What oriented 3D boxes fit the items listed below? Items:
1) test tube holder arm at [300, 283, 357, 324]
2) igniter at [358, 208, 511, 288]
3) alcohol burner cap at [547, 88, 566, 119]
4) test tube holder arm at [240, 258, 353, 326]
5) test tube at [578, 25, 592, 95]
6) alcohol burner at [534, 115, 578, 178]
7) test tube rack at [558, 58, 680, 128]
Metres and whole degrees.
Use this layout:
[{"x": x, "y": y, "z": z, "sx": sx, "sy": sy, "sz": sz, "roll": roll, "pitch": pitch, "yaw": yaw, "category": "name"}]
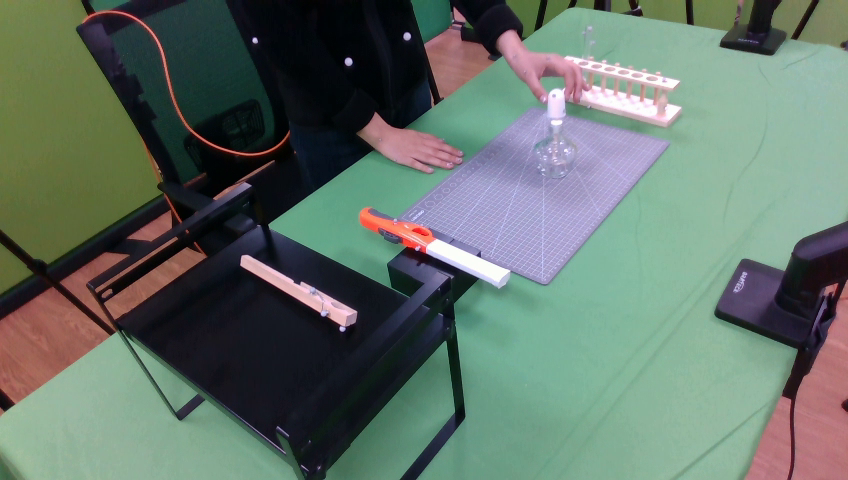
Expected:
[{"x": -0.105, "y": 0.067, "z": 0.638, "sx": 0.087, "sy": 0.015, "sz": 0.010, "roll": 21, "pitch": 14, "yaw": 33, "category": "test tube holder arm"}, {"x": 0.005, "y": 0.005, "z": 0.892, "sx": 0.274, "sy": 0.025, "sz": 0.057, "roll": 24, "pitch": 38, "yaw": 31, "category": "igniter"}, {"x": 0.226, "y": -0.234, "z": 1.030, "sx": 0.034, "sy": 0.048, "sz": 0.033, "roll": -5, "pitch": 35, "yaw": 4, "category": "alcohol burner cap"}, {"x": -0.143, "y": 0.053, "z": 0.658, "sx": 0.177, "sy": 0.015, "sz": 0.013, "roll": 21, "pitch": 14, "yaw": 32, "category": "test tube holder arm"}, {"x": 0.326, "y": -0.362, "z": 1.227, "sx": 0.017, "sy": 0.151, "sz": 0.017, "roll": -3, "pitch": 44, "yaw": 4, "category": "test tube"}, {"x": 0.232, "y": -0.170, "z": 1.065, "sx": 0.078, "sy": 0.119, "sz": 0.077, "roll": -5, "pitch": 39, "yaw": 5, "category": "alcohol burner"}, {"x": 0.394, "y": -0.309, "z": 1.231, "sx": 0.240, "sy": 0.085, "sz": 0.067, "roll": 25, "pitch": 51, "yaw": 33, "category": "test tube rack"}]
